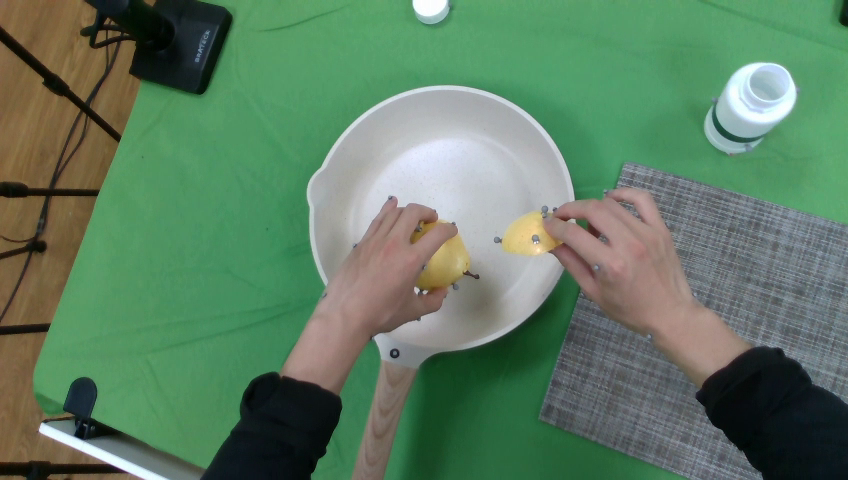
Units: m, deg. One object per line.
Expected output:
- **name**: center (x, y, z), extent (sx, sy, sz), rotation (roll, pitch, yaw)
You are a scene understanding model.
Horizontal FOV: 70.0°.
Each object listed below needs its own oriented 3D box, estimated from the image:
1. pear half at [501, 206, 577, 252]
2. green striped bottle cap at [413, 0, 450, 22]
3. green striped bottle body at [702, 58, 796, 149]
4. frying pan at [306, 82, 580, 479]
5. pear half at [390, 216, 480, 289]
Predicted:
- **pear half**: center (0.103, -0.014, 0.560), extent (0.070, 0.088, 0.031), rotation (-18, 99, 11)
- **green striped bottle cap**: center (0.009, -0.292, 0.746), extent (0.044, 0.020, 0.044), rotation (-2, 80, 12)
- **green striped bottle body**: center (0.327, -0.138, 0.609), extent (0.063, 0.120, 0.063), rotation (-2, 81, 11)
- **frying pan**: center (-0.011, 0.070, 0.655), extent (0.306, 0.103, 0.486), rotation (14, 77, 14)
- **pear half**: center (0.008, 0.017, 0.612), extent (0.109, 0.056, 0.076), rotation (20, 112, 45)
